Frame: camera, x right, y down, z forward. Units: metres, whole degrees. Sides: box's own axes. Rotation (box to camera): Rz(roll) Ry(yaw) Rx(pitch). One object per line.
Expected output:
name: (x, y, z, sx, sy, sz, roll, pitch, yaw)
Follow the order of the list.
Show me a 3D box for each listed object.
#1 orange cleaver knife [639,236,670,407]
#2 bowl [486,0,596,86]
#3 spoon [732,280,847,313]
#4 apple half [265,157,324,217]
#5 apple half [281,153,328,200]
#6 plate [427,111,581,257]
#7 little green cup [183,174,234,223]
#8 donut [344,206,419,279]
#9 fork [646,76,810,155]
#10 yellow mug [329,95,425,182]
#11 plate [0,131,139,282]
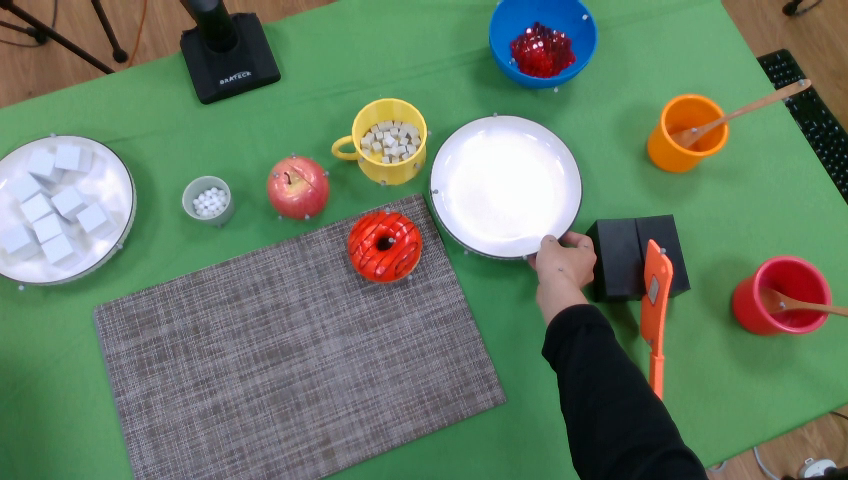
orange cleaver knife: (0.281, 0.102, 0.752, 0.012, 0.077, 0.212, -2, 106, 0)
bowl: (0.160, -0.277, 0.866, 0.151, 0.077, 0.150, 0, 74, -1)
spoon: (0.477, 0.079, 0.735, 0.192, 0.022, 0.041, 8, 61, 48)
apple half: (-0.177, -0.061, 0.795, 0.080, 0.075, 0.053, 42, 81, 7)
apple half: (-0.151, -0.089, 0.803, 0.081, 0.081, 0.033, 41, 81, 10)
plate: (0.107, -0.075, 0.825, 0.209, 0.038, 0.208, 0, 73, -1)
little green cup: (-0.285, -0.053, 0.807, 0.061, 0.039, 0.061, 0, 73, -1)
donut: (-0.055, 0.003, 0.790, 0.099, 0.048, 0.098, 0, 75, 0)
fork: (0.396, -0.163, 0.802, 0.207, 0.019, 0.028, -26, 67, 37)
yellow mug: (-0.064, -0.134, 0.824, 0.131, 0.064, 0.099, -10, 74, -4)
plate: (-0.479, -0.043, 0.798, 0.208, 0.039, 0.206, 1, 73, -1)
